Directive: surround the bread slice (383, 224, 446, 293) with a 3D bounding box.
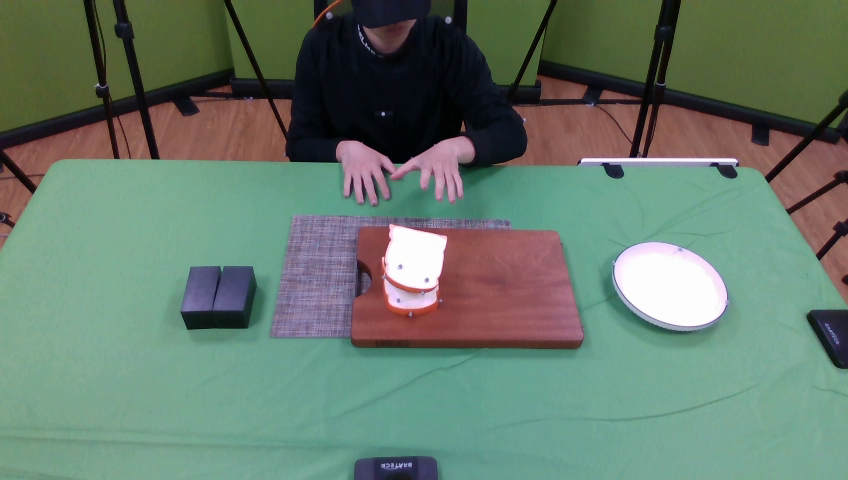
[{"bbox_3d":[-0.017,0.034,1.050,0.107,0.018,0.133,11,48,-7],"label":"bread slice"}]

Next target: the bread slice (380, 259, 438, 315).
[{"bbox_3d":[-0.024,0.079,1.087,0.105,0.019,0.130,-3,45,-5],"label":"bread slice"}]

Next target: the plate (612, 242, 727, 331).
[{"bbox_3d":[0.455,0.090,1.138,0.209,0.038,0.208,3,45,-2],"label":"plate"}]

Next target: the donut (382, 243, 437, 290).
[{"bbox_3d":[-0.026,0.046,1.077,0.099,0.048,0.098,3,45,-3],"label":"donut"}]
